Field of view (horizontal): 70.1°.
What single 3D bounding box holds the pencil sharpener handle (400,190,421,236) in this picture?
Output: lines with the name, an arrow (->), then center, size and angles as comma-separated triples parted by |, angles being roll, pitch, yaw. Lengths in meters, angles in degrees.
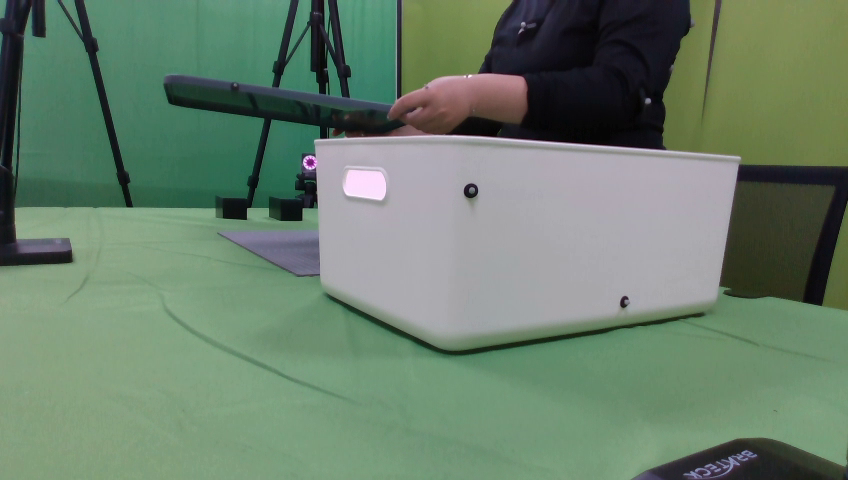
pencil sharpener handle -> -0.016, -0.038, 0.873 | 0.031, 0.067, 0.036 | -1, 17, -31

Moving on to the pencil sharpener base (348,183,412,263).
pencil sharpener base -> -0.060, -0.025, 0.845 | 0.077, 0.107, 0.061 | -1, 7, -31

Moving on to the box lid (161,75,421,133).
box lid -> -0.214, -0.207, 0.964 | 0.373, 0.015, 0.262 | 4, 3, -21

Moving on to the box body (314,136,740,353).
box body -> 0.098, -0.012, 0.605 | 0.366, 0.160, 0.253 | -2, 8, -33
